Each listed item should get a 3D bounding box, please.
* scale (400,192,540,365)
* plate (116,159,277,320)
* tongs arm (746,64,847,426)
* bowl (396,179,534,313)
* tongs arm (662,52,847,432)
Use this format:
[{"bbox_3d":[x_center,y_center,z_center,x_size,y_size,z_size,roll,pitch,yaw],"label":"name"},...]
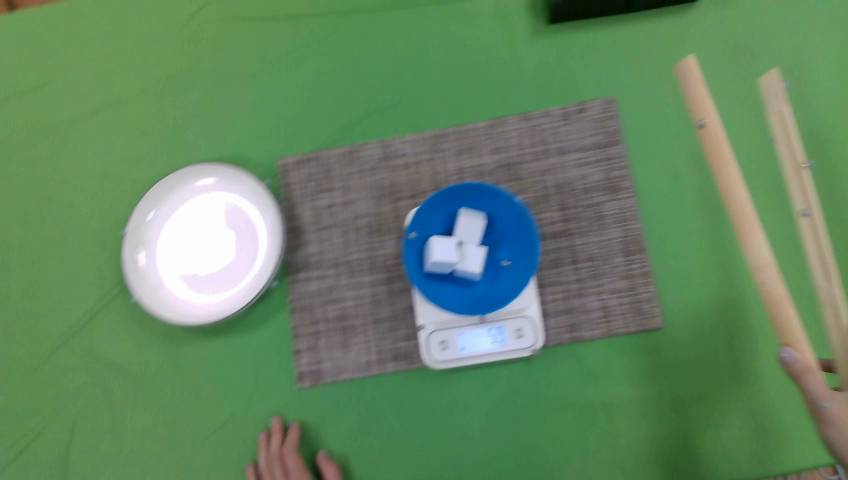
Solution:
[{"bbox_3d":[0.054,0.043,0.739,0.148,0.032,0.200,-9,78,3],"label":"scale"},{"bbox_3d":[-0.286,0.001,0.777,0.207,0.039,0.206,-1,78,4],"label":"plate"},{"bbox_3d":[0.376,-0.008,0.614,0.051,0.026,0.382,0,73,-30],"label":"tongs arm"},{"bbox_3d":[0.047,0.013,0.692,0.151,0.077,0.150,-1,79,3],"label":"bowl"},{"bbox_3d":[0.310,-0.003,0.577,0.028,0.028,0.386,-12,79,-36],"label":"tongs arm"}]
